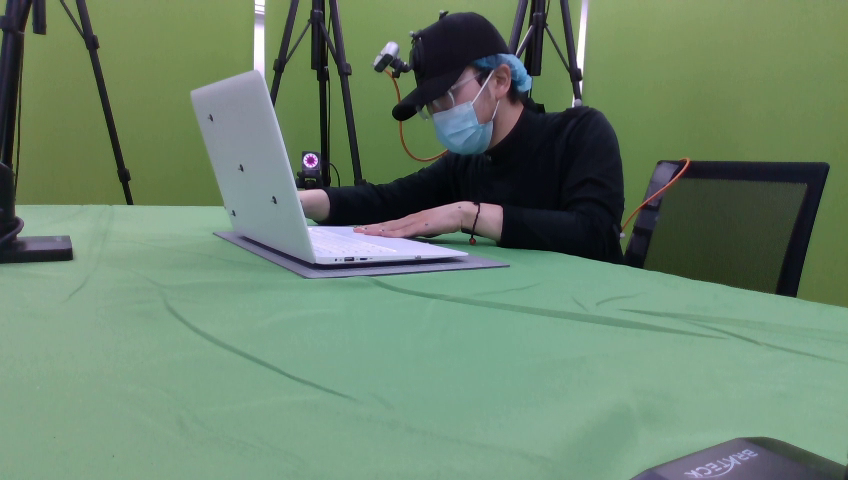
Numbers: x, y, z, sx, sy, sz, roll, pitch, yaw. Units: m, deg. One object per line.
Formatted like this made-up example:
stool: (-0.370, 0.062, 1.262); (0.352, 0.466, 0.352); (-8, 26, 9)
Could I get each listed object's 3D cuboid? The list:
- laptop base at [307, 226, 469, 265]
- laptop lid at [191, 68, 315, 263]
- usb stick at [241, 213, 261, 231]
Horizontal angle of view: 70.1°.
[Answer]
laptop base: (-0.125, 0.006, 0.936); (0.237, 0.023, 0.352); (2, 6, -33)
laptop lid: (-0.249, -0.102, 0.838); (0.013, 0.242, 0.355); (-22, 20, -29)
usb stick: (-0.299, -0.030, 1.053); (0.021, 0.027, 0.059); (-5, 17, -34)
